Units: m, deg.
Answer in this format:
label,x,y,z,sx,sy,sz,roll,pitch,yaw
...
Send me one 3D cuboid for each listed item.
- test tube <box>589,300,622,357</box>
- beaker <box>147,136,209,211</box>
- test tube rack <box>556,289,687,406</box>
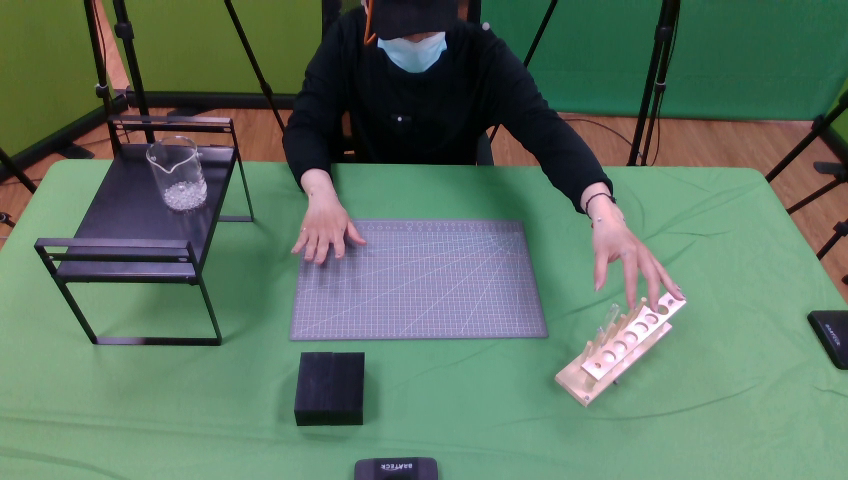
label,x,y,z,sx,sy,sz,roll,pitch,yaw
test tube,0.288,0.144,0.970,0.017,0.151,0.017,2,49,-2
beaker,-0.387,-0.101,0.961,0.074,0.101,0.083,-5,47,-7
test tube rack,0.332,0.166,1.014,0.242,0.085,0.066,-31,55,-28
